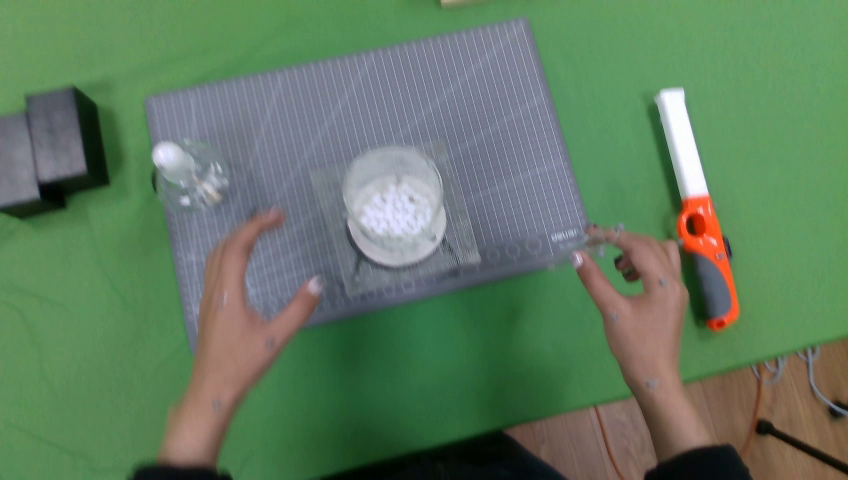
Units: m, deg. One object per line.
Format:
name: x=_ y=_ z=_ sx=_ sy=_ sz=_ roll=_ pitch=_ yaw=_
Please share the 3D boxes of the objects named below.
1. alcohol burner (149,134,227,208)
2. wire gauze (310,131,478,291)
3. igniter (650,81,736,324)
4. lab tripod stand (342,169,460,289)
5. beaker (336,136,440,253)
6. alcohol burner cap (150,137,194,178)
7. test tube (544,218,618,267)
alcohol burner: x=-0.244 y=-0.075 z=0.611 sx=0.078 sy=0.119 sz=0.077 roll=0 pitch=79 yaw=-1
wire gauze: x=-0.028 y=-0.027 z=0.537 sx=0.125 sy=0.011 sz=0.121 roll=-16 pitch=80 yaw=-2
igniter: x=0.300 y=-0.045 z=0.677 sx=0.057 sy=0.025 sz=0.275 roll=-8 pitch=82 yaw=-13
lab tripod stand: x=-0.032 y=-0.012 z=0.601 sx=0.148 sy=0.132 sz=0.148 roll=0 pitch=80 yaw=0
beaker: x=-0.024 y=-0.029 z=0.488 sx=0.074 sy=0.100 sz=0.083 roll=-37 pitch=82 yaw=-7
alcohol burner cap: x=-0.241 y=-0.080 z=0.576 sx=0.034 sy=0.048 sz=0.033 roll=1 pitch=82 yaw=-6
test tube: x=0.134 y=0.005 z=0.538 sx=0.017 sy=0.150 sz=0.017 roll=1 pitch=78 yaw=-6
